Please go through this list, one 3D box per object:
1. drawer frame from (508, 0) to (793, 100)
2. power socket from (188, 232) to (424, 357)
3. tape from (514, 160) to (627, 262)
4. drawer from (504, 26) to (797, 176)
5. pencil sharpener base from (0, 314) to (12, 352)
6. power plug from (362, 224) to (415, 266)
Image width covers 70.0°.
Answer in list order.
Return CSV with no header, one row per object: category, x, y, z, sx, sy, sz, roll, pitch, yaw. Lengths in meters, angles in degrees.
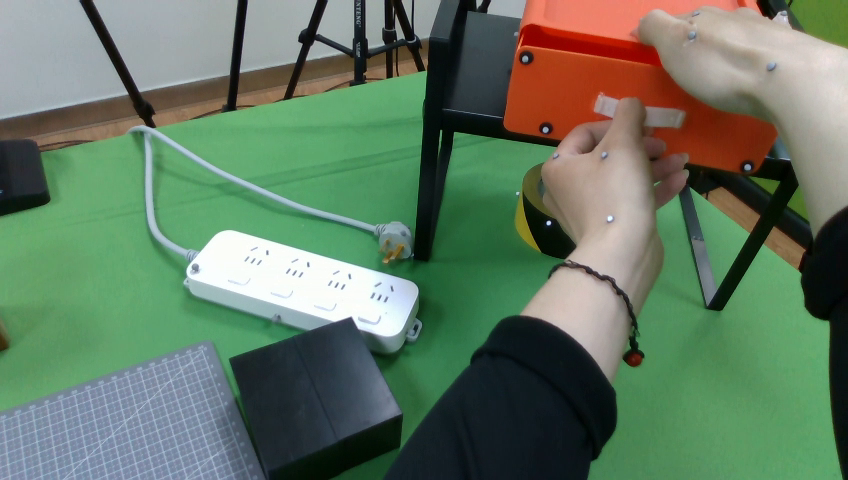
drawer frame,0.186,-0.183,0.541,0.201,0.083,0.212,10,43,5
power socket,-0.109,0.048,0.564,0.226,0.033,0.072,15,44,10
tape,0.159,-0.033,0.663,0.117,0.053,0.115,3,44,-3
drawer,0.179,-0.156,0.513,0.194,0.074,0.210,11,43,6
pencil sharpener base,-0.389,0.053,0.473,0.077,0.108,0.061,-29,54,-30
power plug,-0.040,0.009,0.625,0.072,0.035,0.052,-14,27,38
